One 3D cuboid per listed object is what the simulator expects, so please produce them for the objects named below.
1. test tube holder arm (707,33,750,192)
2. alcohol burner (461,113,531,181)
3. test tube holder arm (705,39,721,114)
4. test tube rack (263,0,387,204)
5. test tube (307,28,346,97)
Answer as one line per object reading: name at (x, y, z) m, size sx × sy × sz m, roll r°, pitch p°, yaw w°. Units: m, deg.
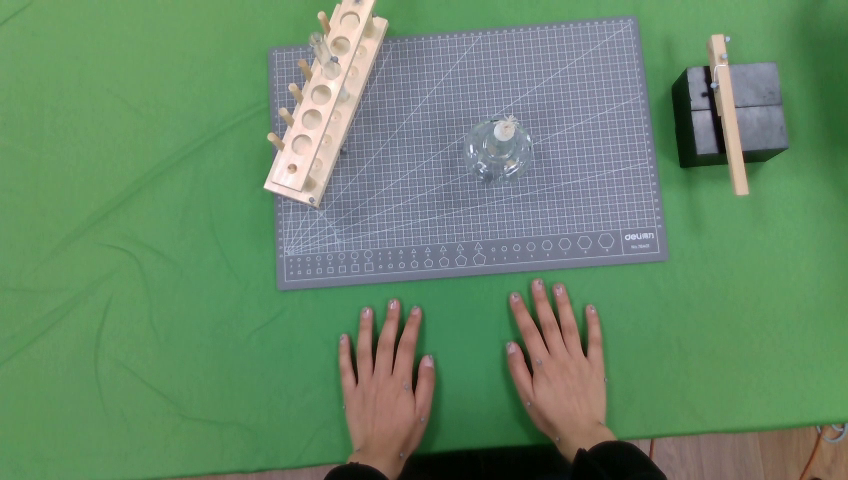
test tube holder arm at (0.325, -0.138, 0.649) m, size 0.015 × 0.013 × 0.177 m, roll -7°, pitch 78°, yaw 12°
alcohol burner at (0.080, -0.106, 0.658) m, size 0.078 × 0.119 × 0.077 m, roll 0°, pitch 80°, yaw 1°
test tube holder arm at (0.323, -0.181, 0.664) m, size 0.015 × 0.010 × 0.087 m, roll -7°, pitch 78°, yaw 12°
test tube rack at (-0.119, -0.171, 0.688) m, size 0.066 × 0.085 × 0.242 m, roll 19°, pitch 83°, yaw 6°
test tube at (-0.100, -0.183, 0.639) m, size 0.017 × 0.150 × 0.017 m, roll 0°, pitch 83°, yaw 1°
